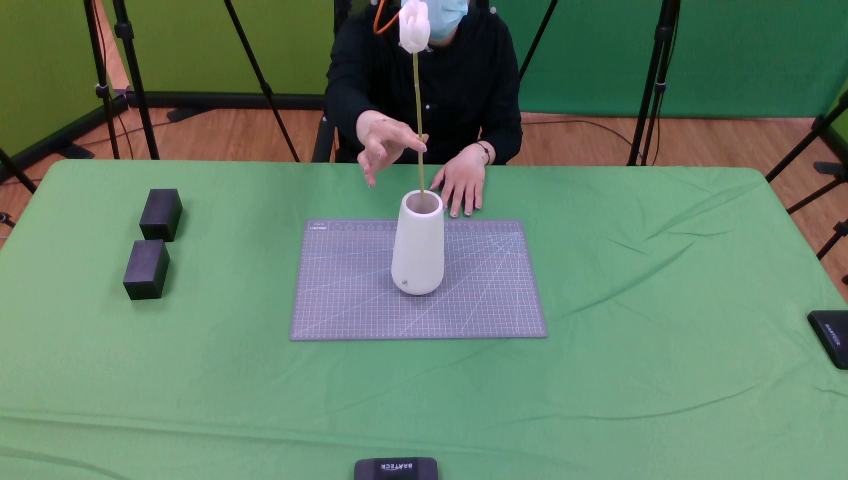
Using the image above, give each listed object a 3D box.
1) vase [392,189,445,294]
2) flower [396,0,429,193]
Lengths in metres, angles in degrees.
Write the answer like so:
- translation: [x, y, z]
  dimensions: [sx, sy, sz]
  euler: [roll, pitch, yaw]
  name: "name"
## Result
- translation: [-0.007, 0.006, 1.060]
  dimensions: [0.098, 0.201, 0.097]
  euler: [2, 48, -2]
  name: "vase"
- translation: [-0.010, -0.173, 0.850]
  dimensions: [0.038, 0.363, 0.044]
  euler: [-11, 59, -5]
  name: "flower"
